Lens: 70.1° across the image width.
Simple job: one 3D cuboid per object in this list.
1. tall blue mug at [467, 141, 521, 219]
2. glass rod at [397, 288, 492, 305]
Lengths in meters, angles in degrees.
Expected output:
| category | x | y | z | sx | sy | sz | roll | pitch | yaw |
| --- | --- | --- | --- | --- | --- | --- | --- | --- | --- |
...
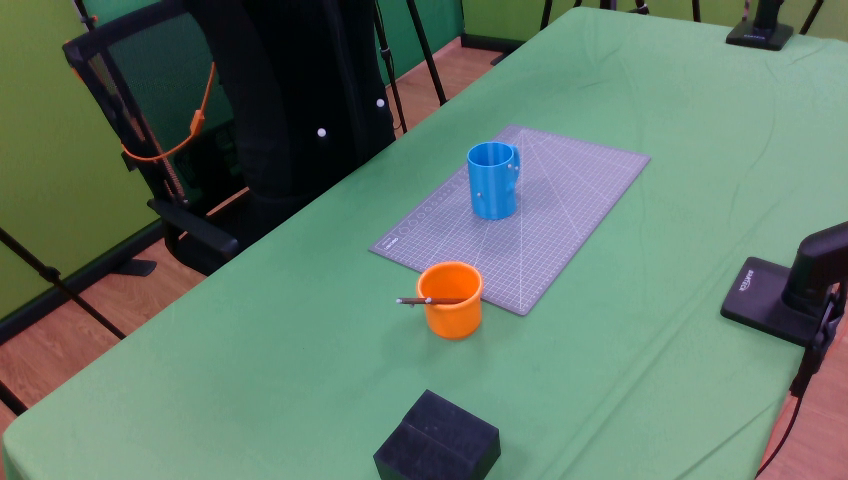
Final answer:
| category | x | y | z | sx | sy | sz | roll | pitch | yaw |
| --- | --- | --- | --- | --- | --- | --- | --- | --- | --- |
| tall blue mug | 0.119 | -0.109 | 1.020 | 0.077 | 0.108 | 0.107 | 2 | 42 | 16 |
| glass rod | 0.033 | 0.074 | 0.802 | 0.008 | 0.008 | 0.201 | 28 | 18 | 36 |
